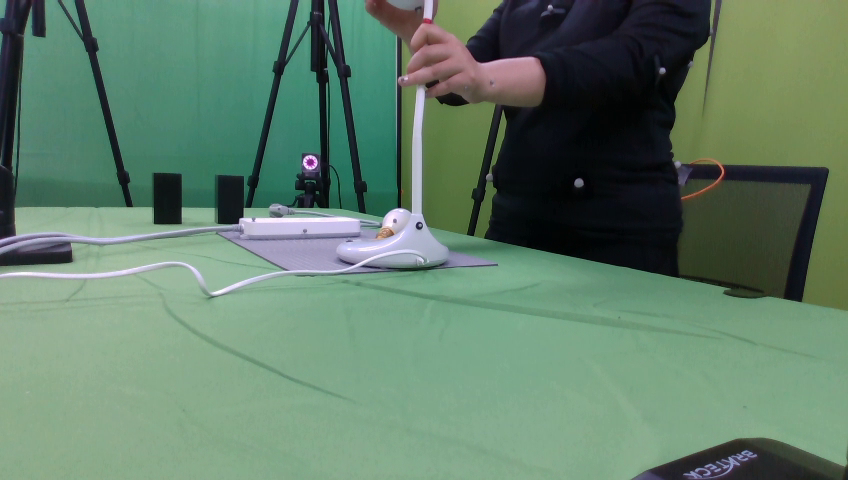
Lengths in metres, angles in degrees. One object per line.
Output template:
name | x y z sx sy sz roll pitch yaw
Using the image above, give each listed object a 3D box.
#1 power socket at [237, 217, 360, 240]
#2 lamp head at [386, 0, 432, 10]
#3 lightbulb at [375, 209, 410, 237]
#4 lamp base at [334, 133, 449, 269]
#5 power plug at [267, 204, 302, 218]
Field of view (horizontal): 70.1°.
power socket | -0.221 -0.023 1.080 0.228 0.032 0.072 -2 8 -32
lamp head | -0.006 -0.377 0.814 0.113 0.112 0.122 0 10 -22
lightbulb | -0.052 -0.016 1.023 0.059 0.059 0.108 6 23 21
lamp base | -0.034 -0.057 0.831 0.161 0.180 0.178 -2 11 -36
power plug | -0.327 -0.060 1.404 0.073 0.035 0.052 22 -14 -25
